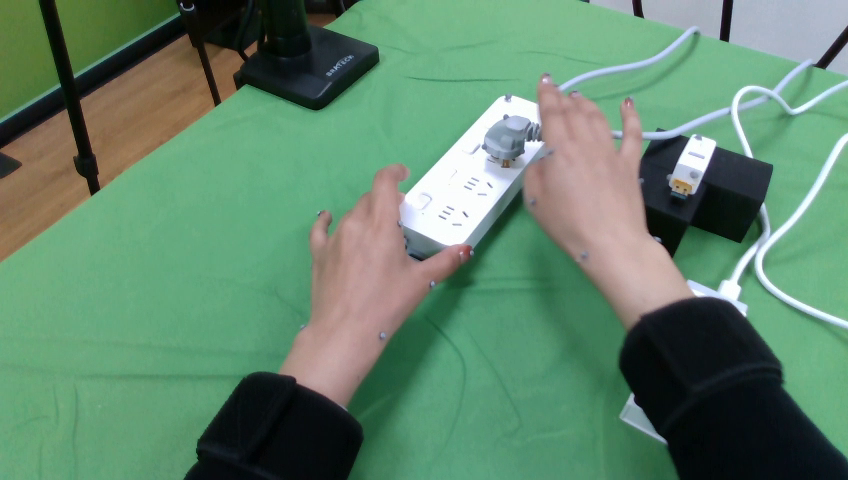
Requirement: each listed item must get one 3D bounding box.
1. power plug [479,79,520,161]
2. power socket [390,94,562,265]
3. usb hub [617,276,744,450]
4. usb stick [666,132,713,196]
[{"bbox_3d":[0.071,-0.103,0.546,0.035,0.053,0.072,18,46,1],"label":"power plug"},{"bbox_3d":[0.052,-0.063,0.551,0.072,0.033,0.226,27,54,20],"label":"power socket"},{"bbox_3d":[0.184,0.082,0.431,0.049,0.025,0.125,25,54,23],"label":"usb hub"},{"bbox_3d":[0.211,-0.059,0.486,0.021,0.027,0.059,26,55,18],"label":"usb stick"}]
